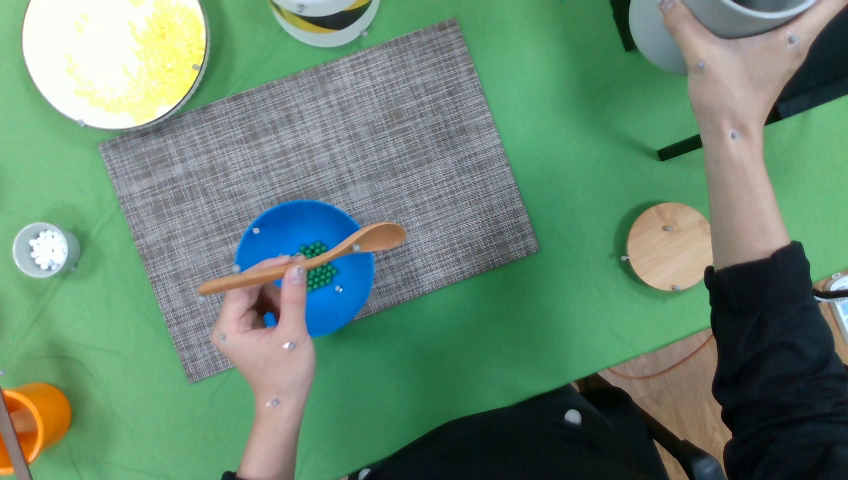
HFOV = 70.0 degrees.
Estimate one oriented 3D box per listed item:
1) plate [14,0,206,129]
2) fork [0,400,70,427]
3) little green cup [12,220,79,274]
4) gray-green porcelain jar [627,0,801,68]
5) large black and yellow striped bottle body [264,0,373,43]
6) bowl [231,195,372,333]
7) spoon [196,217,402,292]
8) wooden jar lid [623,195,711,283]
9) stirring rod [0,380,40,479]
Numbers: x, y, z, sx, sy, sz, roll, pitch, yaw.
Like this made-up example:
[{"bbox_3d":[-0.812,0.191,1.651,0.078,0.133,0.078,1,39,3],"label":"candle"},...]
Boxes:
[{"bbox_3d":[-0.355,-0.229,0.698,0.209,0.038,0.209,0,91,-3],"label":"plate"},{"bbox_3d":[-0.495,0.200,0.643,0.208,0.018,0.028,-1,93,-46],"label":"fork"},{"bbox_3d":[-0.433,0.008,0.698,0.061,0.038,0.061,0,92,-2],"label":"little green cup"},{"bbox_3d":[0.229,-0.203,0.478,0.106,0.126,0.105,1,84,-5],"label":"gray-green porcelain jar"},{"bbox_3d":[-0.120,-0.299,0.636,0.131,0.184,0.130,0,90,-3],"label":"large black and yellow striped bottle body"},{"bbox_3d":[-0.133,0.026,0.690,0.151,0.077,0.151,0,91,-3],"label":"bowl"},{"bbox_3d":[-0.095,0.012,0.508,0.194,0.042,0.021,-21,66,-41],"label":"spoon"},{"bbox_3d":[0.296,-0.002,0.745,0.108,0.020,0.108,0,92,-3],"label":"wooden jar lid"},{"bbox_3d":[-0.446,0.178,0.642,0.014,0.006,0.176,-20,92,-1],"label":"stirring rod"}]
